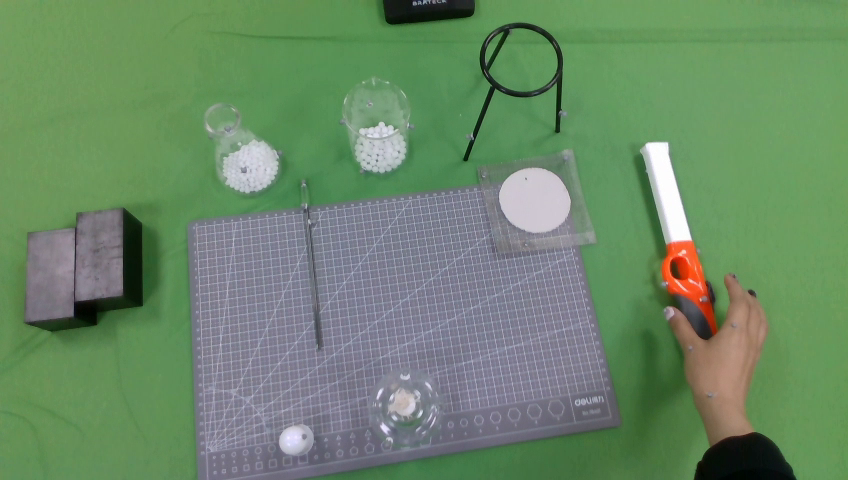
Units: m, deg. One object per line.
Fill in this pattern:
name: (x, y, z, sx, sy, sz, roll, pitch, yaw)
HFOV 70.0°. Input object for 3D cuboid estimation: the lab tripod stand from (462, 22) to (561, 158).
lab tripod stand: (0.098, -0.171, 0.705, 0.148, 0.132, 0.147, 1, 74, -3)

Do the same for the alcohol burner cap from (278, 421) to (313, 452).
alcohol burner cap: (-0.134, 0.202, 0.623, 0.034, 0.048, 0.033, 1, 72, -3)

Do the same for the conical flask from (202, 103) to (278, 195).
conical flask: (-0.211, -0.105, 0.676, 0.075, 0.122, 0.075, 1, 72, -2)

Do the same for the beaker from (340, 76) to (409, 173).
beaker: (-0.056, -0.129, 0.703, 0.074, 0.101, 0.083, -5, 72, -4)

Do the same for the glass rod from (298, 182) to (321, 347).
glass rod: (-0.132, 0.024, 0.695, 0.008, 0.008, 0.198, -8, 73, -5)

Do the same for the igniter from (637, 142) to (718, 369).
igniter: (0.297, 0.012, 0.713, 0.057, 0.025, 0.274, -3, 73, -14)

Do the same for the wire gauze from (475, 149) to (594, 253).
wire gauze: (0.133, -0.047, 0.731, 0.125, 0.011, 0.120, -8, 73, -5)

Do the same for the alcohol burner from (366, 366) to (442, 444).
alcohol burner: (-0.020, 0.163, 0.603, 0.078, 0.119, 0.077, 1, 74, -2)
